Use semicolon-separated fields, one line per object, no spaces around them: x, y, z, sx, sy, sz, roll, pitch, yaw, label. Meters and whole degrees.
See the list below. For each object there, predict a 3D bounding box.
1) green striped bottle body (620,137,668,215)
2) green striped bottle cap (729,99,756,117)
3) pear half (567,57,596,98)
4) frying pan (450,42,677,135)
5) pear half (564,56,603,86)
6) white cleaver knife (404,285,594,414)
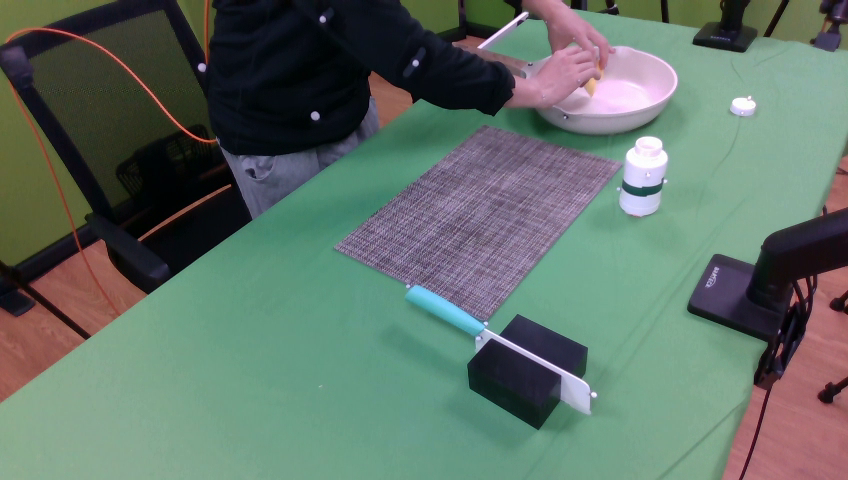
0.350;-0.103;0.963;0.063;0.120;0.063;-4;41;4;green striped bottle body
0.623;-0.259;1.182;0.044;0.020;0.044;-3;40;3;green striped bottle cap
0.301;-0.310;1.132;0.031;0.088;0.070;-29;23;13;pear half
0.268;-0.344;1.266;0.485;0.103;0.307;26;49;21;frying pan
0.317;-0.347;1.226;0.076;0.056;0.111;-2;2;40;pear half
0.084;0.135;0.764;0.284;0.066;0.021;27;47;31;white cleaver knife
